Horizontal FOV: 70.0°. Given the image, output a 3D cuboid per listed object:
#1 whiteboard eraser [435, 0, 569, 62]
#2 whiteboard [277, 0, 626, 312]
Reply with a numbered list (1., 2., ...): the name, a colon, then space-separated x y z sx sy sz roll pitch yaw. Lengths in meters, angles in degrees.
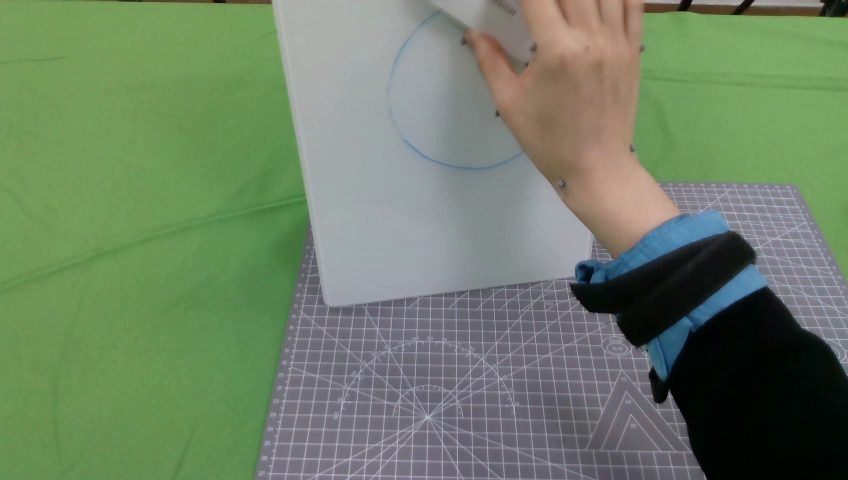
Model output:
1. whiteboard eraser: 0.044 -0.145 0.365 0.102 0.041 0.018 26 23 -22
2. whiteboard: 0.015 -0.122 0.461 0.217 0.308 0.142 -6 31 -5
